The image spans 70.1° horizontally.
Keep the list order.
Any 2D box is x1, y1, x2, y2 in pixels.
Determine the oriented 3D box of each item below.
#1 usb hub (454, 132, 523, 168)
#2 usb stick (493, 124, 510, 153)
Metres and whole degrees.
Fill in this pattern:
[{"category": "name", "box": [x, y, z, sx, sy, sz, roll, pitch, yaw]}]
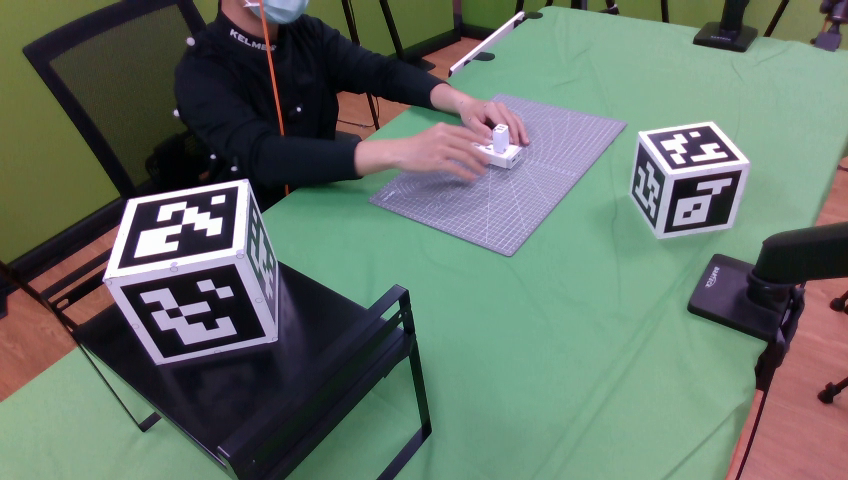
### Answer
[{"category": "usb hub", "box": [0.122, -0.170, 1.144, 0.124, 0.025, 0.049, 22, 48, 29]}, {"category": "usb stick", "box": [0.142, -0.180, 1.108, 0.021, 0.059, 0.027, 19, 46, 29]}]
